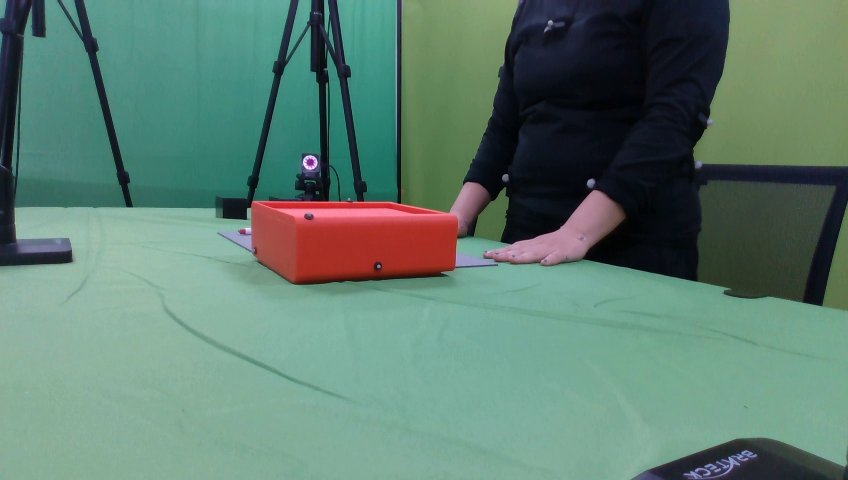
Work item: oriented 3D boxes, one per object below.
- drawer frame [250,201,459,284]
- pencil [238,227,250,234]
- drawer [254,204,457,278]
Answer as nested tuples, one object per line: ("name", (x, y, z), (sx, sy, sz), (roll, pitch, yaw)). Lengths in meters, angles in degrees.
("drawer frame", (-0.095, -0.005, 0.788), (0.215, 0.082, 0.200), (-3, 10, -30))
("pencil", (-0.240, -0.015, 1.105), (0.195, 0.012, 0.012), (1, 7, -30))
("drawer", (-0.094, -0.004, 0.790), (0.213, 0.073, 0.193), (-3, 10, -30))
